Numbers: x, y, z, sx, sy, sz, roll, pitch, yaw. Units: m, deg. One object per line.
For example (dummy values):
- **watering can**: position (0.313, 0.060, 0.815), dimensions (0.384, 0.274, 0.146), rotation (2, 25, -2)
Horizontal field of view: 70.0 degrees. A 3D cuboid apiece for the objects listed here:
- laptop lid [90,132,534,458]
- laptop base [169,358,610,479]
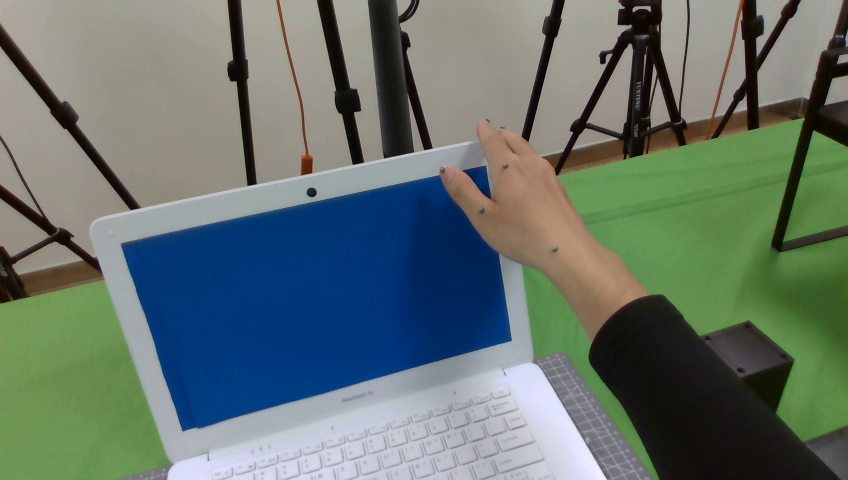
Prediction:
- **laptop lid**: position (-0.078, 0.051, 0.542), dimensions (0.357, 0.243, 0.013), rotation (-15, 18, -9)
- **laptop base**: position (-0.026, 0.223, 0.483), dimensions (0.355, 0.023, 0.233), rotation (-13, 38, -10)
